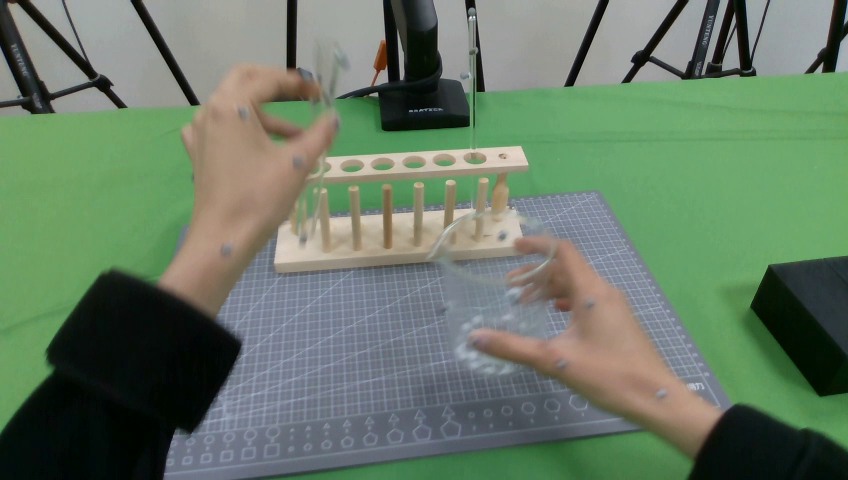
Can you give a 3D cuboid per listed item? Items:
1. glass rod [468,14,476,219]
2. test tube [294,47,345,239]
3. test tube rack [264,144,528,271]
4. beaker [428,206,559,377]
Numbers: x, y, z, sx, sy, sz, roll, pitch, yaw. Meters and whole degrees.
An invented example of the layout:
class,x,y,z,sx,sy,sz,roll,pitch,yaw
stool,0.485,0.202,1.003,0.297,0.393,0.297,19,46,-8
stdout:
class,x,y,z,sx,sy,sz,roll,pitch,yaw
glass rod,0.045,-0.106,0.565,0.008,0.201,0.008,-2,33,2
test tube,-0.074,-0.060,0.417,0.017,0.151,0.017,11,38,-9
test tube rack,-0.023,-0.032,0.579,0.243,0.086,0.066,-4,40,-5
beaker,0.047,0.039,0.416,0.084,0.101,0.073,-6,38,-2
